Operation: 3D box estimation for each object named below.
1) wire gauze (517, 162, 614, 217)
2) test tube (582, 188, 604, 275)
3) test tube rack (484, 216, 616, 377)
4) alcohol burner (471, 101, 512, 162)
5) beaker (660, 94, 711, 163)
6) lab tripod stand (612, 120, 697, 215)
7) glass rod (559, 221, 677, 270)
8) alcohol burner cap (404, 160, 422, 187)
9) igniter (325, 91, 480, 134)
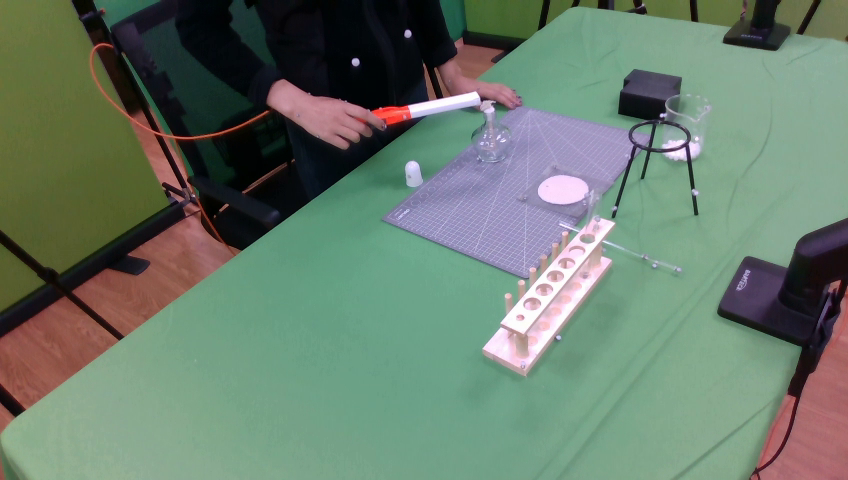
[{"bbox_3d":[0.245,-0.088,1.046,0.120,0.011,0.125,25,50,32],"label":"wire gauze"},{"bbox_3d":[0.229,-0.007,0.821,0.017,0.151,0.017,-3,42,3],"label":"test tube"},{"bbox_3d":[0.174,0.064,0.823,0.066,0.085,0.243,23,49,32],"label":"test tube rack"},{"bbox_3d":[0.125,-0.207,1.126,0.078,0.119,0.077,-5,43,5],"label":"alcohol burner"},{"bbox_3d":[0.457,-0.192,1.063,0.074,0.101,0.083,-7,41,4],"label":"beaker"},{"bbox_3d":[0.369,-0.112,0.958,0.148,0.132,0.147,-4,40,4],"label":"lab tripod stand"},{"bbox_3d":[0.292,0.007,0.928,0.198,0.008,0.008,26,52,36],"label":"glass rod"},{"bbox_3d":[-0.022,-0.125,1.118,0.034,0.048,0.033,-4,40,4],"label":"alcohol burner cap"},{"bbox_3d":[-0.038,-0.227,1.073,0.277,0.025,0.057,-12,36,-4],"label":"igniter"}]
